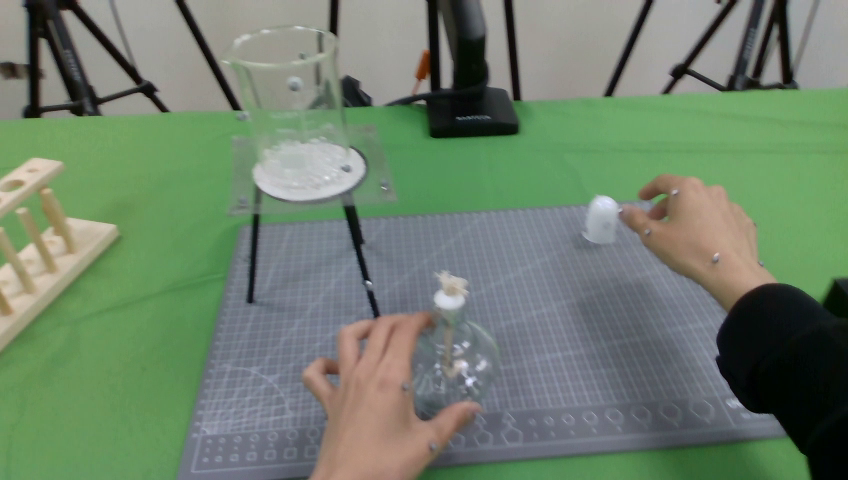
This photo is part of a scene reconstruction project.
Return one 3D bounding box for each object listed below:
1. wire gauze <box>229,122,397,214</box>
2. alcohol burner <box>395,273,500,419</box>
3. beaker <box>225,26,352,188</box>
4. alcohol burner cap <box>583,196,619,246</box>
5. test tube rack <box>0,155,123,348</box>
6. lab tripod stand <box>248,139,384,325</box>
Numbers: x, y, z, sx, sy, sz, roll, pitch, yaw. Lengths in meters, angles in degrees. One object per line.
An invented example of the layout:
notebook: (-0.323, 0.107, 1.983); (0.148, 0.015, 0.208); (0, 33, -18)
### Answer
wire gauze: (-0.090, -0.058, 0.481); (0.125, 0.011, 0.120); (-9, 37, -6)
alcohol burner: (0.017, 0.072, 0.437); (0.078, 0.120, 0.077); (-1, 37, 1)
beaker: (-0.095, -0.096, 0.450); (0.084, 0.101, 0.073); (-7, 39, -7)
alcohol burner cap: (0.181, -0.022, 0.611); (0.034, 0.048, 0.033); (-1, 38, 1)
test tube rack: (-0.378, 0.027, 0.525); (0.066, 0.086, 0.240); (9, 39, 11)
lab tripod stand: (-0.089, -0.008, 0.522); (0.148, 0.132, 0.147); (-1, 40, 1)
